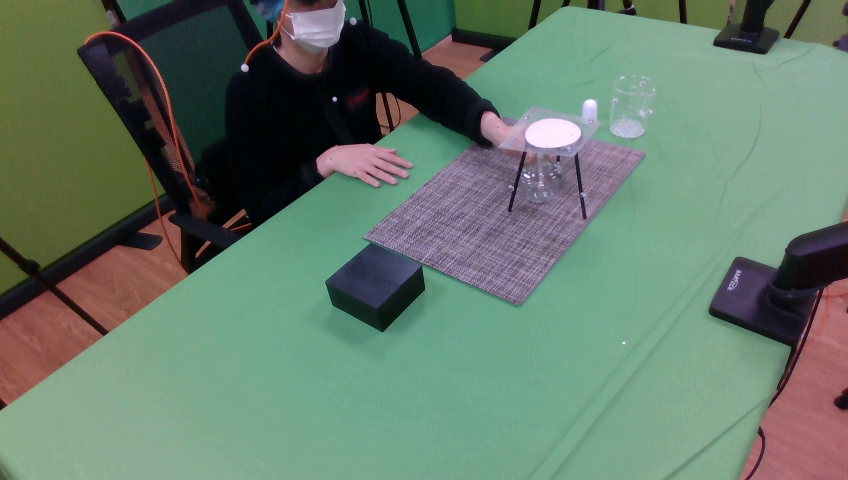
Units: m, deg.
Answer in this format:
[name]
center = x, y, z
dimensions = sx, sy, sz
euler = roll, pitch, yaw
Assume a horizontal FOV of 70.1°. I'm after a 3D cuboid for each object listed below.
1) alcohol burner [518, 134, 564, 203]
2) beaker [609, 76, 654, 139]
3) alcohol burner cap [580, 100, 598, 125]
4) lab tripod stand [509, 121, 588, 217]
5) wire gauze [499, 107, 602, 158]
[alcohol burner]
center = 0.195, -0.123, 1.010
dimensions = 0.078, 0.119, 0.077
euler = -6, 41, 6
[beaker]
center = 0.393, -0.248, 1.144
dimensions = 0.074, 0.101, 0.083
euler = -32, 47, -24
[alcohol burner cap]
center = 0.331, -0.258, 1.210
dimensions = 0.034, 0.048, 0.033
euler = -5, 41, 5
[lab tripod stand]
center = 0.208, -0.114, 0.983
dimensions = 0.148, 0.132, 0.147
euler = -5, 42, 5
[wire gauze]
center = 0.198, -0.168, 0.943
dimensions = 0.120, 0.011, 0.125
euler = 17, 47, 27
